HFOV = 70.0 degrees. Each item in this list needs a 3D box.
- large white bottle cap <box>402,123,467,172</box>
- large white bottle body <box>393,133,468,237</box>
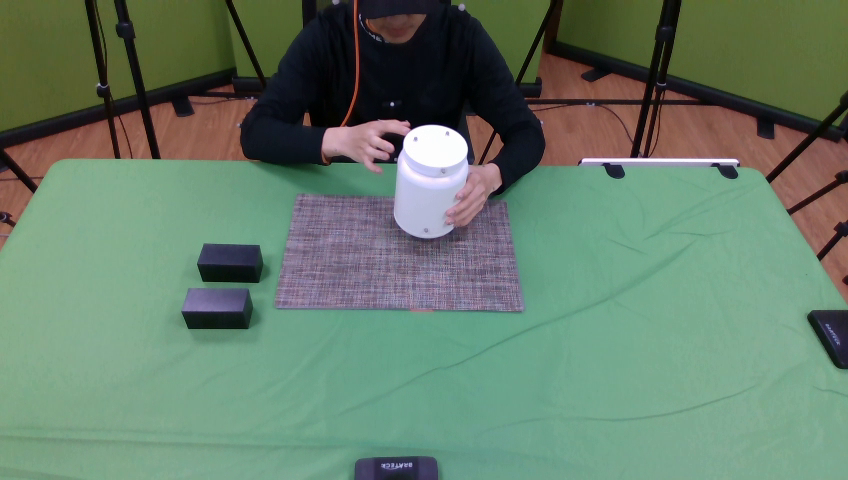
[{"bbox_3d":[0.019,-0.165,1.067,0.115,0.018,0.114,4,49,-4],"label":"large white bottle cap"},{"bbox_3d":[0.012,-0.110,1.130,0.131,0.185,0.130,3,49,-4],"label":"large white bottle body"}]
